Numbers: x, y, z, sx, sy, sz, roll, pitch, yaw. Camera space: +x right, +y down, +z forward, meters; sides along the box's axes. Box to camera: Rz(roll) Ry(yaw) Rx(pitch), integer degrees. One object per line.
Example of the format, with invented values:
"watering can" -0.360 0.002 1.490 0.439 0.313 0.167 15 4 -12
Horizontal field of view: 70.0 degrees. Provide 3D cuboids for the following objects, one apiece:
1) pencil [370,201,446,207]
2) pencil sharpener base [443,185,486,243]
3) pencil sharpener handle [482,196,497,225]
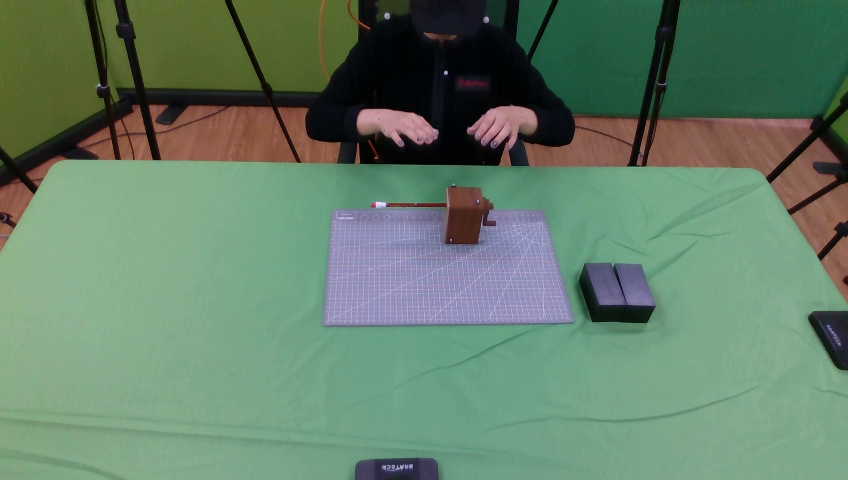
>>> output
"pencil" -0.007 -0.068 1.167 0.194 0.012 0.012 1 46 -2
"pencil sharpener base" 0.078 -0.049 1.188 0.077 0.107 0.061 1 46 -3
"pencil sharpener handle" 0.130 -0.056 1.182 0.031 0.068 0.036 1 43 -3
